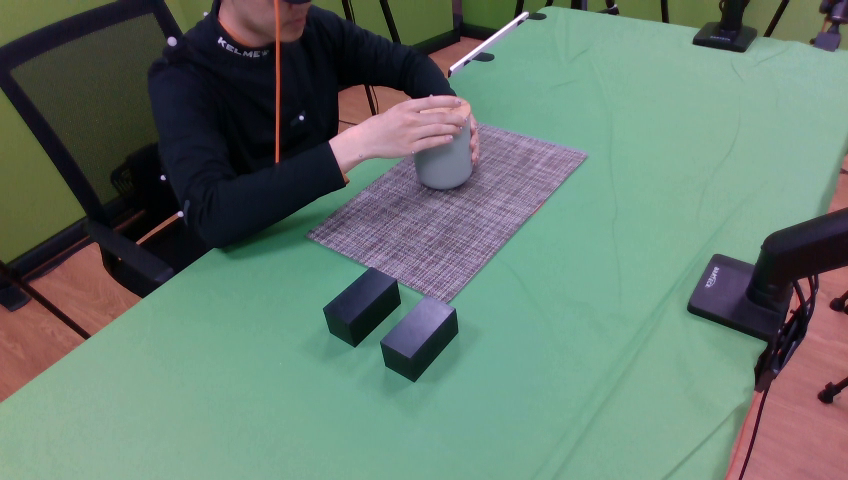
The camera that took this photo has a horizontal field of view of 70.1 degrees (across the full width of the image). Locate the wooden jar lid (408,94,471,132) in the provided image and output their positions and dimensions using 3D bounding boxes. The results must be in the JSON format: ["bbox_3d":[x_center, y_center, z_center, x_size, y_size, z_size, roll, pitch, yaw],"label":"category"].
[{"bbox_3d":[0.026,-0.213,1.026,0.108,0.021,0.108,-6,41,5],"label":"wooden jar lid"}]

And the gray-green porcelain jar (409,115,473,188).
[{"bbox_3d":[0.032,-0.163,1.067,0.106,0.127,0.105,-4,41,4],"label":"gray-green porcelain jar"}]
